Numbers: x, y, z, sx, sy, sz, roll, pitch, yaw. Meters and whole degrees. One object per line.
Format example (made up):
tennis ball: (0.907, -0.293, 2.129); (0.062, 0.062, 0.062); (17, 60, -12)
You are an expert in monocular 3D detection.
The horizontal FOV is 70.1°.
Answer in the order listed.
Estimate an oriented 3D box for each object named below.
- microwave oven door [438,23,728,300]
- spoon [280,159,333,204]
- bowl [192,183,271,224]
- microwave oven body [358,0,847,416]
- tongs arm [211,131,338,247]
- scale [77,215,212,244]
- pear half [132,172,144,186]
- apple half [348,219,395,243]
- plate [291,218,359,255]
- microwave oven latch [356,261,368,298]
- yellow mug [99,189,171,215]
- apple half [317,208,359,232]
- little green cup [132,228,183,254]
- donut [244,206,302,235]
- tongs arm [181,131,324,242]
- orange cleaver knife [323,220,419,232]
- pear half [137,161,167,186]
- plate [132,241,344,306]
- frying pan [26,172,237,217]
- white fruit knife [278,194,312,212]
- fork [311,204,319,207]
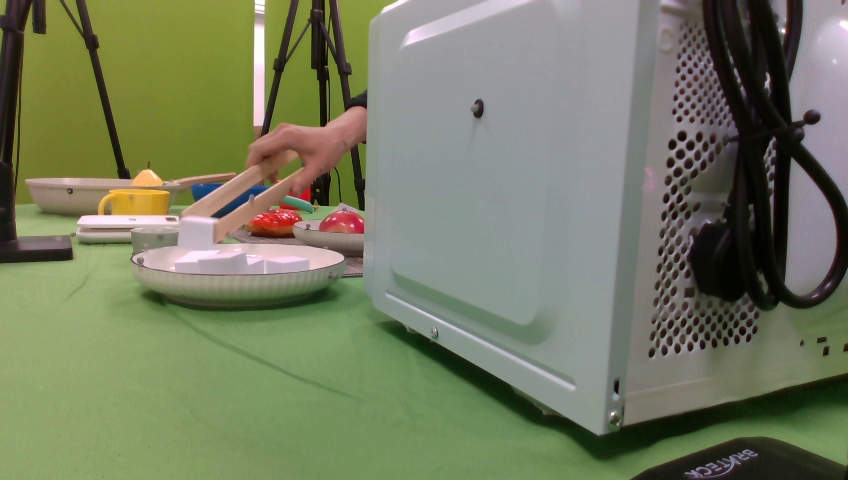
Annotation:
microwave oven door: (0.181, -0.073, 0.621); (0.358, 0.243, 0.039); (-2, 8, -29)
spoon: (-0.317, -0.159, 1.640); (0.194, 0.022, 0.041); (-49, 32, -20)
bowl: (-0.382, -0.071, 1.202); (0.151, 0.077, 0.151); (3, 7, 0)
microwave oven body: (0.211, -0.047, 0.475); (0.444, 0.260, 0.324); (-1, 7, -28)
tongs arm: (-0.189, -0.083, 0.802); (0.050, 0.026, 0.385); (11, 26, 12)
scale: (-0.434, -0.019, 0.963); (0.202, 0.031, 0.148); (-1, 9, -27)
pear half: (-0.638, -0.113, 1.361); (0.031, 0.088, 0.070); (5, 11, 4)
apple half: (-0.083, -0.018, 0.967); (0.081, 0.033, 0.081); (6, 10, -1)
plate: (-0.098, -0.007, 0.928); (0.209, 0.038, 0.209); (2, 8, 0)
microwave oven latch: (-0.019, 0.033, 0.530); (0.079, 0.029, 0.030); (-1, 7, -26)
yellow mug: (-0.519, -0.055, 1.080); (0.099, 0.064, 0.131); (7, 9, 26)
apple half: (-0.122, -0.020, 0.900); (0.080, 0.053, 0.075); (4, 11, 14)
little green cup: (-0.342, 0.006, 0.779); (0.061, 0.038, 0.061); (2, 8, 0)
donut: (-0.261, -0.032, 1.043); (0.099, 0.048, 0.099); (3, 9, 0)
tongs arm: (-0.212, -0.087, 0.805); (0.028, 0.028, 0.387); (6, 25, 10)
orange cleaver knife: (-0.097, -0.027, 1.152); (0.077, 0.012, 0.212); (3, 7, 41)
pear half: (-0.602, -0.120, 1.354); (0.056, 0.110, 0.076); (4, 11, 6)
plate: (-0.187, 0.033, 0.625); (0.208, 0.039, 0.207); (2, 8, 0)
frying pan: (-0.624, -0.118, 1.387); (0.305, 0.102, 0.490); (8, 17, 32)
white fruit knife: (-0.364, -0.105, 1.464); (0.208, 0.027, 0.016); (15, 0, -34)
fork: (-0.356, -0.105, 1.526); (0.208, 0.018, 0.028); (16, -5, -41)
